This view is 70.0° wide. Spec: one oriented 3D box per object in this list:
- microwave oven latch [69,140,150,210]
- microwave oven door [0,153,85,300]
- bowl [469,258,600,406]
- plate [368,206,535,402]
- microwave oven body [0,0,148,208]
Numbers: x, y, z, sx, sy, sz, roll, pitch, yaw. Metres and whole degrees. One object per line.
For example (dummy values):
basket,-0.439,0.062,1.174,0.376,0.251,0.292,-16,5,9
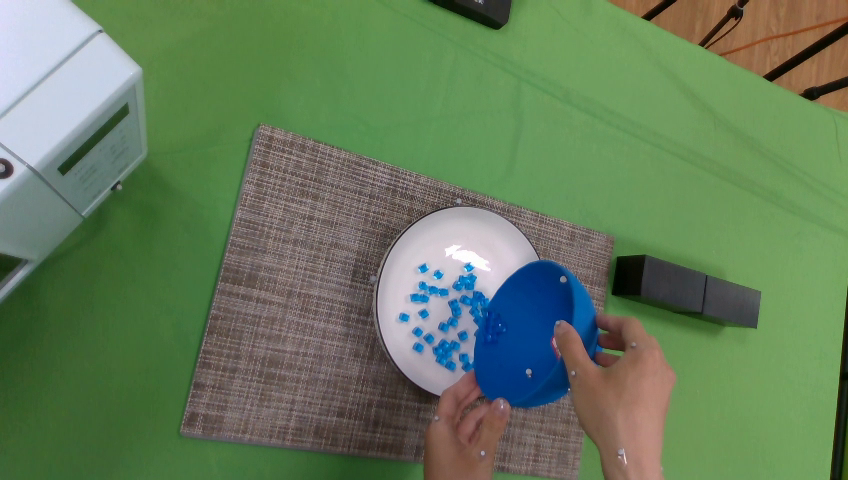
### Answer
microwave oven latch,-0.270,-0.063,0.513,0.030,0.029,0.079,45,71,-15
microwave oven door,-0.359,0.094,0.353,0.039,0.243,0.355,43,71,-15
bowl,0.122,0.101,0.608,0.077,0.150,0.151,26,76,-24
plate,0.035,0.068,0.656,0.209,0.039,0.207,2,86,-24
microwave oven body,-0.440,-0.034,0.331,0.328,0.259,0.440,43,72,-16
